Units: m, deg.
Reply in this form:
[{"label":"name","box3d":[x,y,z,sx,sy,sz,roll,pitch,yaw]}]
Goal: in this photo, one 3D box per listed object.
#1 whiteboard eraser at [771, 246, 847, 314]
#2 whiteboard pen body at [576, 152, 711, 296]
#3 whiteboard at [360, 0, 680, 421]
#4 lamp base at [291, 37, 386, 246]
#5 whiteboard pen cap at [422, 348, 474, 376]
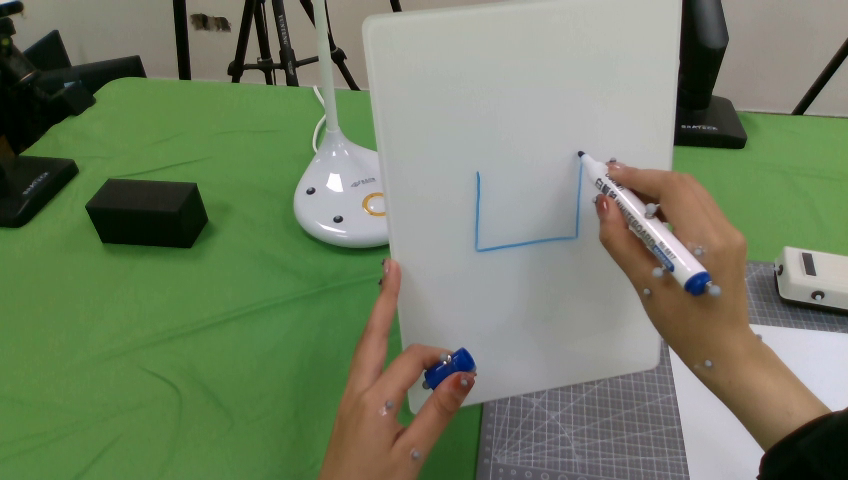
[{"label":"whiteboard eraser","box3d":[0.386,0.042,0.561,0.112,0.042,0.055,10,41,13]},{"label":"whiteboard pen body","box3d":[0.132,-0.017,0.383,0.017,0.017,0.139,-13,44,-13]},{"label":"whiteboard","box3d":[0.069,-0.036,0.505,0.217,0.307,0.142,-9,22,-7]},{"label":"lamp base","box3d":[-0.079,-0.112,0.646,0.161,0.182,0.177,-29,46,-28]},{"label":"whiteboard pen cap","box3d":[0.016,0.081,0.402,0.033,0.018,0.018,-3,35,35]}]
